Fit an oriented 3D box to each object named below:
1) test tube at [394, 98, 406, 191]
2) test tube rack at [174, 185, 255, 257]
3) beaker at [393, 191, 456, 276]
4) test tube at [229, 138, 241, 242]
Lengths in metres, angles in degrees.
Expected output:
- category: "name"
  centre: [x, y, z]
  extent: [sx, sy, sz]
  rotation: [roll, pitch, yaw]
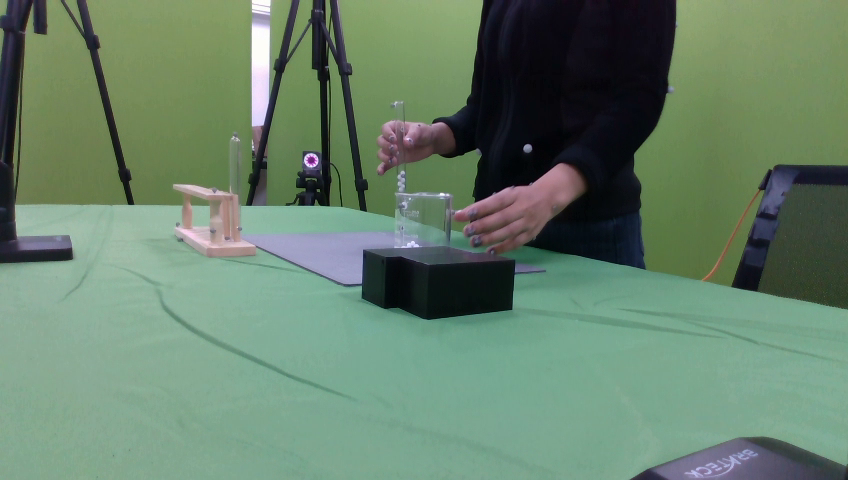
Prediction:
- category: "test tube"
  centre: [-0.038, -0.153, 0.982]
  extent: [0.017, 0.150, 0.017]
  rotation: [-1, 18, 1]
- category: "test tube rack"
  centre: [-0.324, -0.035, 0.922]
  extent: [0.067, 0.085, 0.241]
  rotation: [-2, 9, -32]
- category: "beaker"
  centre: [-0.004, -0.010, 0.749]
  extent: [0.074, 0.100, 0.083]
  rotation: [-3, 8, -40]
- category: "test tube"
  centre: [-0.270, -0.071, 0.866]
  extent: [0.017, 0.150, 0.017]
  rotation: [2, 8, 0]
